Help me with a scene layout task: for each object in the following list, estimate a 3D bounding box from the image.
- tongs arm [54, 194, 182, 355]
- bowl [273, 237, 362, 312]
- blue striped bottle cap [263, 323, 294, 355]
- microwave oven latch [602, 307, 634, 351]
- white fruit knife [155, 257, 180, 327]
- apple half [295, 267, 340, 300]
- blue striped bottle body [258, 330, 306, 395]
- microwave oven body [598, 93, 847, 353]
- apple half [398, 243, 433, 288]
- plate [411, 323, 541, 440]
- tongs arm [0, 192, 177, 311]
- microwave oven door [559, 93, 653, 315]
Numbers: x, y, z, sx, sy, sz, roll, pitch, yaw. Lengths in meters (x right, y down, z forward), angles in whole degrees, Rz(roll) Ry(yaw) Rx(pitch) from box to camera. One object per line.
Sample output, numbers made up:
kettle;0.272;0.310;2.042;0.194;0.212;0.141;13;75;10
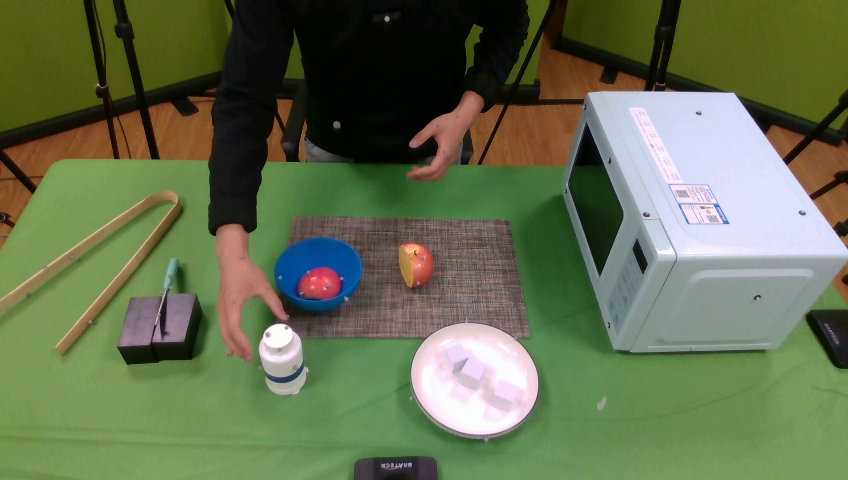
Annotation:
tongs arm;-0.543;0.049;1.108;0.028;0.028;0.385;12;46;9
bowl;-0.185;0.074;1.070;0.151;0.077;0.150;3;45;-3
blue striped bottle cap;-0.217;0.146;0.900;0.044;0.021;0.044;1;46;-1
microwave oven latch;0.332;0.153;1.044;0.030;0.029;0.078;-1;45;-4
white fruit knife;-0.440;0.085;1.037;0.016;0.027;0.206;11;26;-19
apple half;-0.187;0.071;1.067;0.081;0.033;0.081;3;46;-3
blue striped bottle body;-0.220;0.182;0.938;0.063;0.121;0.062;2;45;-2
microwave oven body;0.475;-0.041;1.109;0.326;0.261;0.438;-1;45;-4
apple half;-0.012;0.046;1.115;0.053;0.075;0.080;-11;44;-19
plate;0.082;0.228;0.976;0.208;0.039;0.206;2;45;-2
tongs arm;-0.618;0.019;1.124;0.050;0.026;0.384;24;47;16
microwave oven door;0.327;-0.074;1.123;0.039;0.245;0.353;-1;46;-5
